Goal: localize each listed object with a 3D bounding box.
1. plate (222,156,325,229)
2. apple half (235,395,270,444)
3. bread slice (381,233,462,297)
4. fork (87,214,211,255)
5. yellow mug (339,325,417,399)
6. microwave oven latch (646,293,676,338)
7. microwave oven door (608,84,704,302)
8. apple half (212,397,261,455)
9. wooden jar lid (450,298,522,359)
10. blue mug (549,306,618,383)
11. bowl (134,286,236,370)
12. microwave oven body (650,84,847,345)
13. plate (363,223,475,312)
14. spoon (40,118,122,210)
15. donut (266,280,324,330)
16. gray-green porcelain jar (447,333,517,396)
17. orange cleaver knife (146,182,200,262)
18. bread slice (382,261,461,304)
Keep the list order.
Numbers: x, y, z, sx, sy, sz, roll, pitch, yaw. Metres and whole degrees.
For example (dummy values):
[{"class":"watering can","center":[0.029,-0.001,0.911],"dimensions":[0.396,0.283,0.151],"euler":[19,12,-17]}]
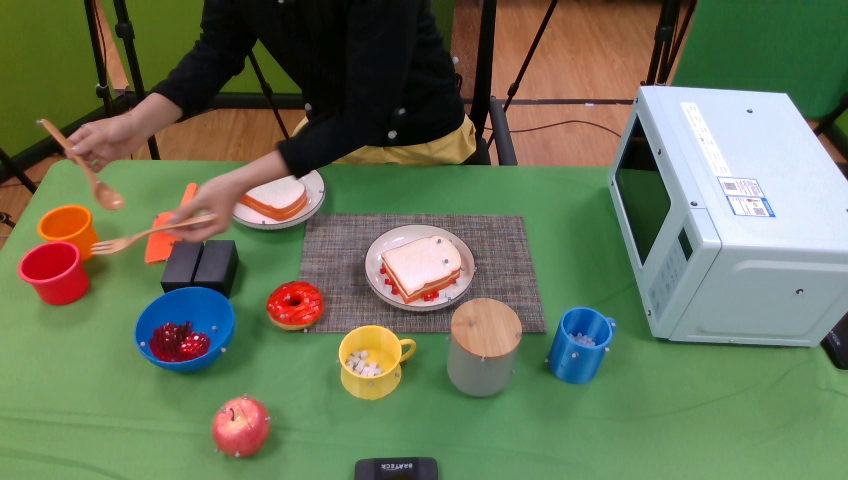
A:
[{"class":"plate","center":[-0.308,-0.095,1.251],"dimensions":[0.209,0.038,0.208],"euler":[3,47,-2]},{"class":"apple half","center":[-0.245,0.260,0.893],"dimensions":[0.033,0.082,0.081],"euler":[-29,55,-22]},{"class":"bread slice","center":[0.001,0.038,1.108],"dimensions":[0.134,0.018,0.106],"euler":[-25,56,-22]},{"class":"fork","center":[-0.436,-0.010,0.961],"dimensions":[0.207,0.019,0.028],"euler":[-17,49,6]},{"class":"yellow mug","center":[-0.072,0.191,0.978],"dimensions":[0.131,0.064,0.099],"euler":[-17,49,-20]},{"class":"microwave oven latch","center":[0.412,0.133,1.061],"dimensions":[0.030,0.029,0.078],"euler":[3,46,0]},{"class":"microwave oven door","center":[0.424,-0.096,1.137],"dimensions":[0.039,0.245,0.353],"euler":[3,46,-1]},{"class":"apple half","center":[-0.276,0.277,0.877],"dimensions":[0.053,0.075,0.080],"euler":[-29,58,-21]},{"class":"wooden jar lid","center":[0.093,0.135,0.914],"dimensions":[0.108,0.021,0.107],"euler":[3,48,-3]},{"class":"blue mug","center":[0.269,0.167,0.997],"dimensions":[0.116,0.106,0.082],"euler":[-19,50,-21]},{"class":"bowl","center":[-0.377,0.156,0.981],"dimensions":[0.151,0.077,0.150],"euler":[3,46,-2]},{"class":"microwave oven body","center":[0.569,-0.054,1.116],"dimensions":[0.326,0.261,0.439],"euler":[2,46,-1]},{"class":"plate","center":[-0.009,0.054,1.126],"dimensions":[0.208,0.039,0.206],"euler":[2,46,-2]},{"class":"spoon","center":[-0.590,-0.130,1.039],"dimensions":[0.194,0.021,0.041],"euler":[57,46,-9]},{"class":"donut","center":[-0.223,0.112,1.051],"dimensions":[0.099,0.048,0.098],"euler":[2,46,-2]},{"class":"gray-green porcelain jar","center":[0.091,0.178,0.960],"dimensions":[0.106,0.127,0.105],"euler":[2,46,-2]},{"class":"orange cleaver knife","center":[-0.494,-0.039,1.199],"dimensions":[0.077,0.012,0.210],"euler":[-3,48,1]},{"class":"bread slice","center":[0.000,0.055,1.129],"dimensions":[0.131,0.019,0.104],"euler":[-22,51,-21]}]
